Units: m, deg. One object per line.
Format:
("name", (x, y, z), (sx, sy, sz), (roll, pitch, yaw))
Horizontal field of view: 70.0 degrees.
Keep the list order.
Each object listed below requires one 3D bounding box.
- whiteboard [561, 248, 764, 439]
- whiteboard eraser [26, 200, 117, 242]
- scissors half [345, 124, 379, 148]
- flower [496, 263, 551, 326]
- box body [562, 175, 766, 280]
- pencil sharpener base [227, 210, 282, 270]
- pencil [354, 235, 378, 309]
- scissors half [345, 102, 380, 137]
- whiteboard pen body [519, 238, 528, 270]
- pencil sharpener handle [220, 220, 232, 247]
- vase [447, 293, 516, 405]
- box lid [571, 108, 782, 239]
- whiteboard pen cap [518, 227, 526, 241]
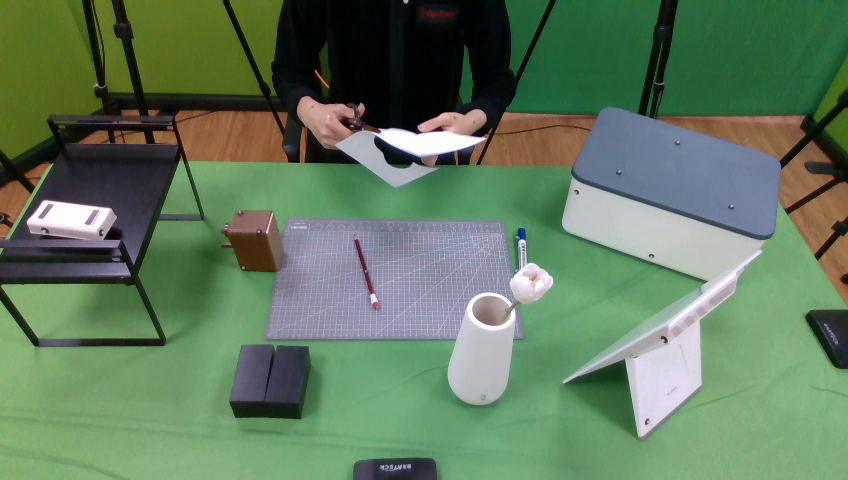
("whiteboard", (0.386, 0.176, 0.905), (0.217, 0.306, 0.143), (-26, 72, -27))
("whiteboard eraser", (-0.532, -0.026, 0.919), (0.113, 0.042, 0.055), (7, 45, 3))
("scissors half", (-0.107, -0.184, 1.051), (0.013, 0.040, 0.174), (-5, 6, -23))
("flower", (0.102, 0.121, 0.853), (0.044, 0.363, 0.038), (-2, 64, -10))
("box body", (0.486, -0.088, 1.222), (0.363, 0.161, 0.253), (20, 48, 15))
("pencil sharpener base", (-0.311, 0.001, 1.112), (0.077, 0.107, 0.061), (1, 47, 1))
("pencil", (-0.113, 0.055, 1.143), (0.012, 0.012, 0.192), (-10, 46, -13))
("scissors half", (-0.107, -0.204, 1.045), (0.013, 0.040, 0.174), (-10, 30, -22))
("whiteboard pen body", (0.193, 0.035, 1.180), (0.017, 0.017, 0.140), (6, 48, 1))
("pencil sharpener handle", (-0.362, -0.009, 1.105), (0.030, 0.068, 0.036), (1, 52, 1))
("vase", (0.091, 0.169, 0.921), (0.098, 0.201, 0.097), (3, 47, -3))
("box lid", (0.491, -0.139, 1.168), (0.370, 0.015, 0.262), (21, 49, 15))
("whiteboard pen cap", (0.197, -0.009, 1.220), (0.018, 0.018, 0.033), (5, 51, 1))
